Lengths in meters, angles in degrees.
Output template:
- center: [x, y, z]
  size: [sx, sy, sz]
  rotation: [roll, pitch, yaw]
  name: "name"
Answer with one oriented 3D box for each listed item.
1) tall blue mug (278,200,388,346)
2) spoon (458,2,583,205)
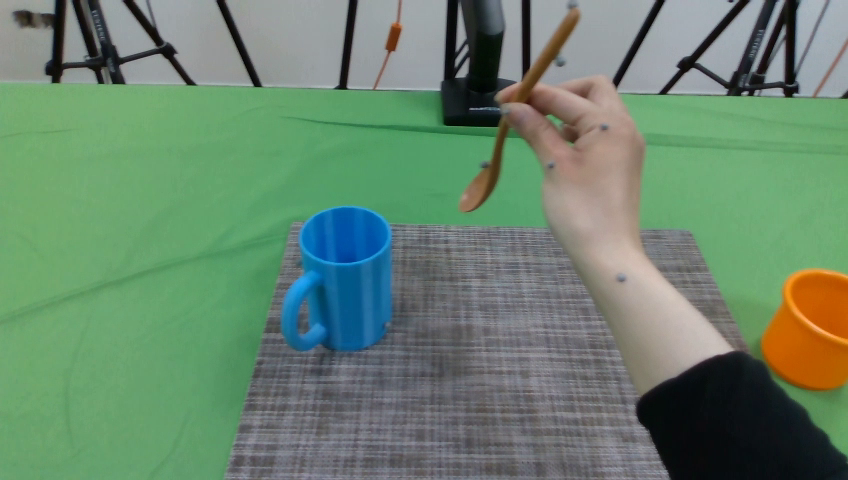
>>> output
- center: [-0.073, 0.040, 0.523]
  size: [0.078, 0.109, 0.106]
  rotation: [7, 42, 4]
  name: "tall blue mug"
- center: [0.061, -0.086, 0.428]
  size: [0.022, 0.195, 0.041]
  rotation: [18, 55, -4]
  name: "spoon"
